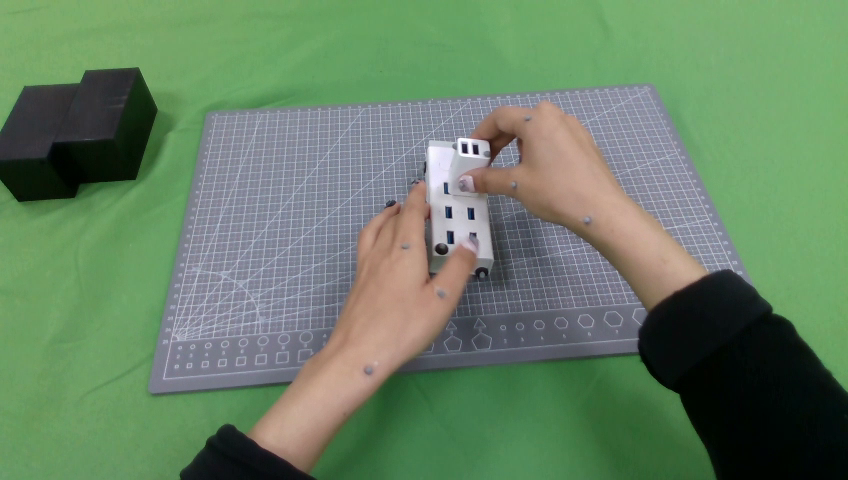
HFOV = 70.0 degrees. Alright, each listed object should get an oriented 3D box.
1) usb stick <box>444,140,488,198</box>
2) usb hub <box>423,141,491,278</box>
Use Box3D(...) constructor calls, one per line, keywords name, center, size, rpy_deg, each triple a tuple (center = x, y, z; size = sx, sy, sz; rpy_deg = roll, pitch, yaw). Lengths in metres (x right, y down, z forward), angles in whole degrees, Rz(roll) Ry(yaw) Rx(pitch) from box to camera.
Box3D(name="usb stick", center=(0.032, -0.051, 0.482), size=(0.027, 0.059, 0.021), rpy_deg=(1, 54, -7))
Box3D(name="usb hub", center=(0.024, -0.028, 0.500), size=(0.049, 0.025, 0.124), rpy_deg=(4, 54, -7))
